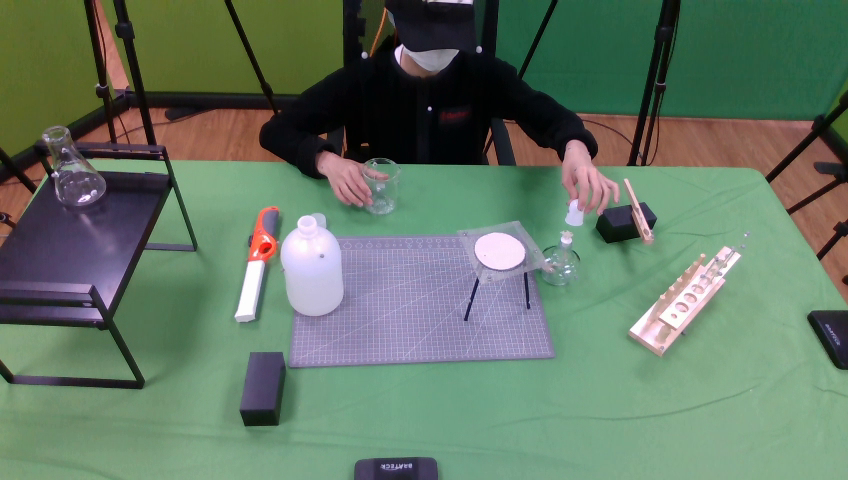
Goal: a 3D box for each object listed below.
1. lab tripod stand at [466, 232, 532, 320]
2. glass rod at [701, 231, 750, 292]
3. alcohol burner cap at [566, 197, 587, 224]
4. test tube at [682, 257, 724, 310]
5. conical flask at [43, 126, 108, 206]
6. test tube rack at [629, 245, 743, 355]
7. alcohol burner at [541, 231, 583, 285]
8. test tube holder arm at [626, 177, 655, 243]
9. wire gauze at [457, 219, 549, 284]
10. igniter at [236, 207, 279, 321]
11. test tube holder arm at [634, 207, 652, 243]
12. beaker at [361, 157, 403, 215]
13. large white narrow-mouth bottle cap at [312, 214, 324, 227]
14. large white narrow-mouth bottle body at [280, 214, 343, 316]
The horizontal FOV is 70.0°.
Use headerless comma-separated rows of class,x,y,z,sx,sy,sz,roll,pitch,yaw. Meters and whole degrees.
lab tripod stand,0.125,0.059,1.065,0.148,0.132,0.147,1,45,0
glass rod,0.519,0.045,1.050,0.008,0.201,0.008,0,55,0
alcohol burner cap,0.274,-0.055,1.085,0.034,0.048,0.033,3,34,-2
test tube,0.475,0.080,1.037,0.017,0.151,0.017,2,51,-2
conical flask,-0.555,-0.119,0.953,0.075,0.122,0.075,2,46,-2
test tube rack,0.474,0.095,1.091,0.242,0.085,0.066,-34,56,-31
alcohol burner,0.258,0.028,1.123,0.078,0.120,0.077,1,48,-1
test tube holder arm,0.434,-0.063,1.220,0.013,0.015,0.177,3,47,-4
wire gauze,0.131,0.014,1.015,0.121,0.011,0.124,-12,46,-14
igniter,-0.309,0.036,1.137,0.057,0.025,0.274,-7,46,5
test tube holder arm,0.428,-0.030,1.189,0.010,0.015,0.087,3,47,-3
beaker,-0.086,-0.108,1.241,0.084,0.101,0.073,-8,48,-13
large white narrow-mouth bottle cap,-0.219,-0.033,1.214,0.038,0.024,0.037,2,46,-2
large white narrow-mouth bottle body,-0.190,0.035,1.025,0.102,0.195,0.101,2,46,-2
